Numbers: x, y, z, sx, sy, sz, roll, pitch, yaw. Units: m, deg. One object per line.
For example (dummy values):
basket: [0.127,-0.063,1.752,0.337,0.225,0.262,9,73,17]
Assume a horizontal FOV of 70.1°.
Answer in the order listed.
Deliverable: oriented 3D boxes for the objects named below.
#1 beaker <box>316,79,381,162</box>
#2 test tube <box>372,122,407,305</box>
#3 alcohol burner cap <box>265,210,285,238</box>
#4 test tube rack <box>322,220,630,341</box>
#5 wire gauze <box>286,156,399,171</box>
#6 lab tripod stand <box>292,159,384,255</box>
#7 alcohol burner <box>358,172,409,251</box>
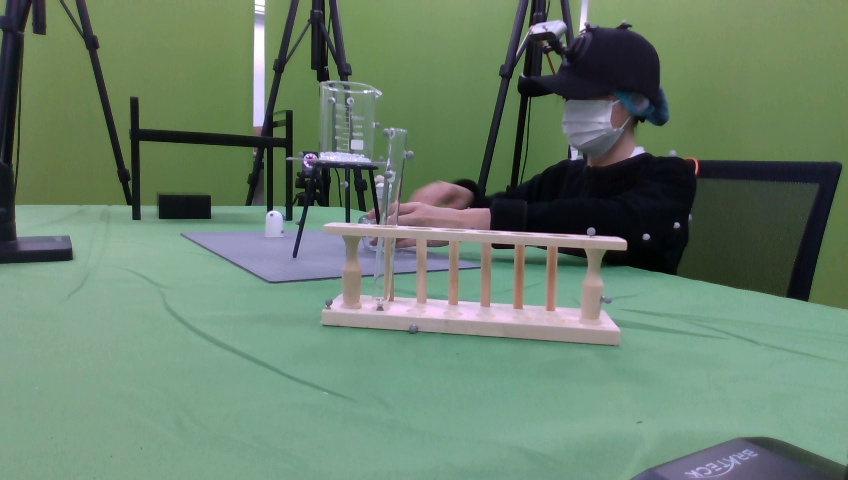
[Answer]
beaker: [-0.098,-0.151,0.778,0.084,0.100,0.074,4,7,6]
test tube: [-0.029,-0.020,0.493,0.017,0.150,0.017,6,9,-1]
alcohol burner cap: [-0.253,-0.027,1.027,0.034,0.048,0.034,2,9,0]
test tube rack: [0.041,0.029,0.512,0.242,0.085,0.067,3,7,5]
wire gauze: [-0.101,-0.103,0.788,0.121,0.011,0.125,5,4,6]
lab tripod stand: [-0.105,-0.039,0.797,0.148,0.131,0.148,2,5,0]
alcohol burner: [-0.062,-0.044,0.928,0.078,0.119,0.078,1,6,0]
